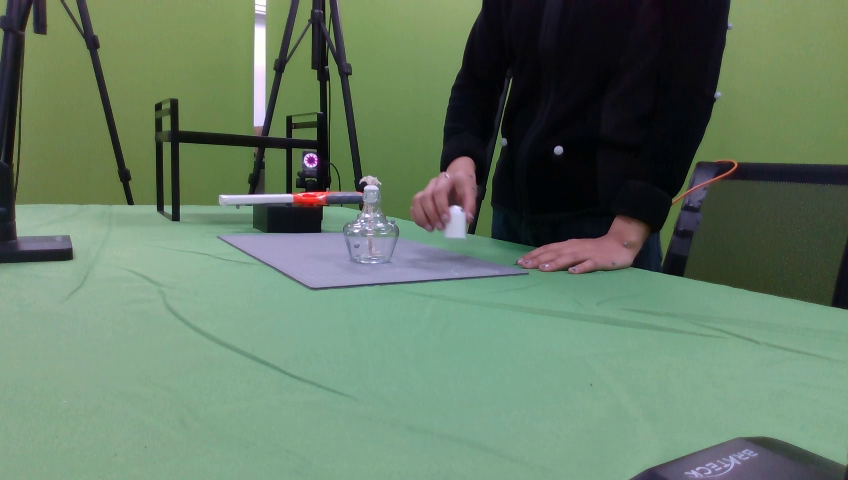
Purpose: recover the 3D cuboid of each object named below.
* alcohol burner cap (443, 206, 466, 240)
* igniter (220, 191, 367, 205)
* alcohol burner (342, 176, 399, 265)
[{"bbox_3d":[0.044,-0.023,0.836,0.034,0.048,0.034,4,0,0],"label":"alcohol burner cap"},{"bbox_3d":[-0.242,-0.079,1.152,0.278,0.025,0.057,-3,12,-27],"label":"igniter"},{"bbox_3d":[-0.073,-0.027,0.818,0.078,0.119,0.078,1,6,0],"label":"alcohol burner"}]
